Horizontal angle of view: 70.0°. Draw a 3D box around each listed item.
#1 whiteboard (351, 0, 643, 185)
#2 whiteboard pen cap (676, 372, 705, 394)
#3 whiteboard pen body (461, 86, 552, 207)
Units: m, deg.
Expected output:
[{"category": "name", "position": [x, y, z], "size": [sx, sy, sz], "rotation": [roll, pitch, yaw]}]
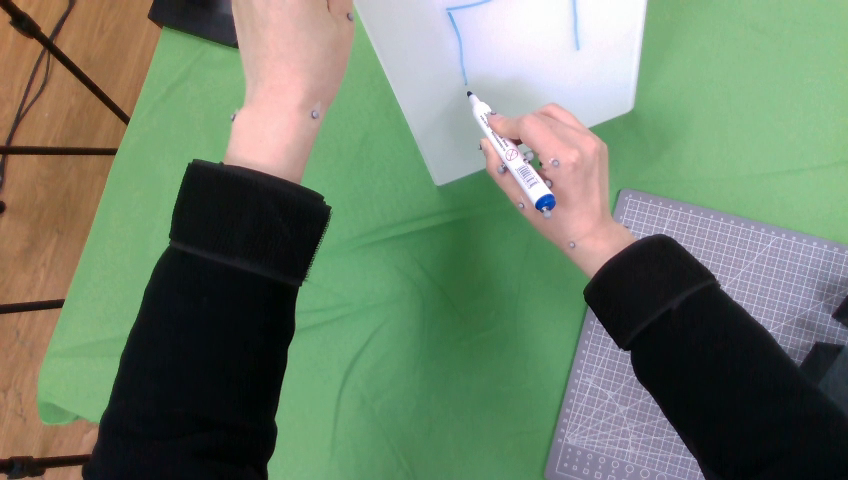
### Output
[{"category": "whiteboard", "position": [0.057, -0.214, 0.519], "size": [0.217, 0.308, 0.142], "rotation": [-20, 64, 5]}, {"category": "whiteboard pen cap", "position": [0.254, 0.135, 0.579], "size": [0.018, 0.033, 0.018], "rotation": [0, 88, 5]}, {"category": "whiteboard pen body", "position": [0.058, -0.077, 0.464], "size": [0.017, 0.017, 0.139], "rotation": [-30, 56, 3]}]
